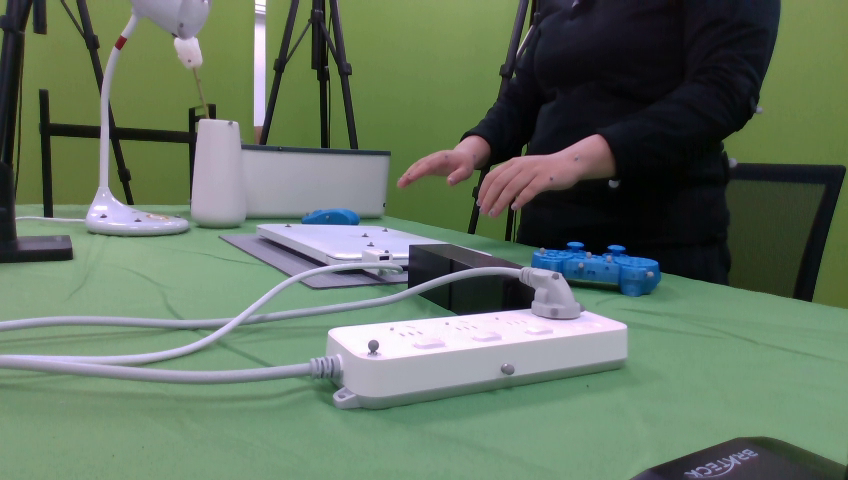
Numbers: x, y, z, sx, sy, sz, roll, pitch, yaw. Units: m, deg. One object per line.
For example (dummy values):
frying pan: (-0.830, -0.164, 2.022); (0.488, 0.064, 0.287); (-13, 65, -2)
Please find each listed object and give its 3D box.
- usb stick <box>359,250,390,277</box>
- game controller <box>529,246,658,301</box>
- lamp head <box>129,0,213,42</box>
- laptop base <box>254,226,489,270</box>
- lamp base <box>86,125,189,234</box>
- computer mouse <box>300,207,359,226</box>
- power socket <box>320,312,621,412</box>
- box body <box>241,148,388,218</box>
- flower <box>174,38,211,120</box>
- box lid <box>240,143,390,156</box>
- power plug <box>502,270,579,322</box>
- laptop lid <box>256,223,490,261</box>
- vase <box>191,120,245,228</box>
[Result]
usb stick: (-0.061, 0.026, 0.708); (0.021, 0.027, 0.059); (-5, 6, -28)
game controller: (0.202, 0.037, 0.733); (0.155, 0.051, 0.097); (5, 10, 19)
lamp head: (-0.423, -0.394, 0.980); (0.123, 0.112, 0.112); (20, 7, -3)
laptop base: (-0.095, 0.011, 0.912); (0.237, 0.023, 0.352); (2, 6, -32)
lamp base: (-0.497, -0.105, 1.027); (0.179, 0.180, 0.160); (1, 7, 3)
computer mouse: (-0.194, -0.046, 1.241); (0.117, 0.041, 0.063); (0, 10, 12)
power socket: (0.038, 0.075, 0.409); (0.228, 0.032, 0.072); (-2, 8, -29)
box body: (-0.297, -0.143, 1.475); (0.366, 0.160, 0.253); (-1, 9, -30)
flower: (-0.401, -0.207, 1.141); (0.038, 0.361, 0.044); (-14, 3, 44)
box lid: (-0.295, -0.217, 1.464); (0.373, 0.015, 0.262); (-1, 8, -30)
power plug: (0.090, 0.051, 0.469); (0.035, 0.052, 0.072); (0, 5, -19)
laptop lid: (-0.092, 0.000, 0.911); (0.243, 0.013, 0.355); (1, 7, -30)
vase: (-0.389, -0.124, 1.143); (0.098, 0.200, 0.098); (3, 9, 0)
